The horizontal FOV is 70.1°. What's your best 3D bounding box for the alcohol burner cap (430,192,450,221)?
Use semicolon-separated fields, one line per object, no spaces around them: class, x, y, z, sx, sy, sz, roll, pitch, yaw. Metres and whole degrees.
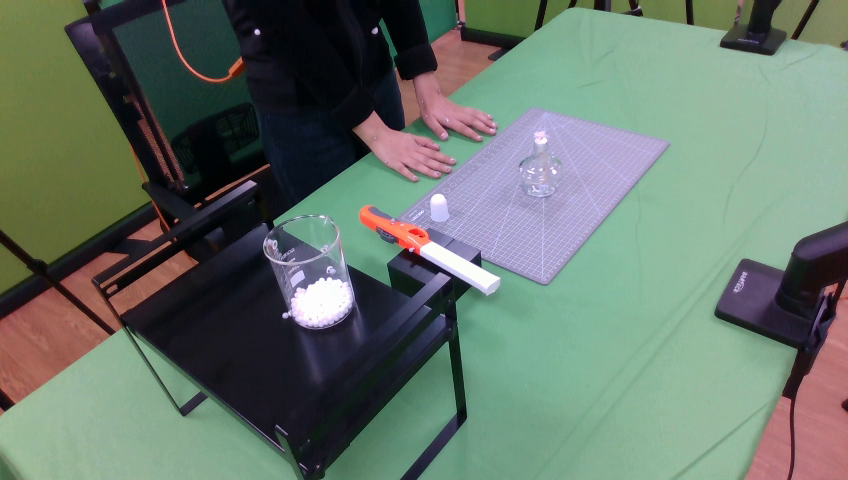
alcohol burner cap;0.025;-0.059;1.020;0.034;0.048;0.033;-4;41;4

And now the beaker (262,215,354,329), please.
beaker;-0.112;0.034;0.616;0.073;0.101;0.084;13;44;23

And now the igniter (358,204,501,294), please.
igniter;-0.004;0.006;0.892;0.274;0.025;0.057;29;41;34

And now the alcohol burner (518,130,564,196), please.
alcohol burner;0.199;-0.135;1.027;0.078;0.119;0.077;-5;42;5
